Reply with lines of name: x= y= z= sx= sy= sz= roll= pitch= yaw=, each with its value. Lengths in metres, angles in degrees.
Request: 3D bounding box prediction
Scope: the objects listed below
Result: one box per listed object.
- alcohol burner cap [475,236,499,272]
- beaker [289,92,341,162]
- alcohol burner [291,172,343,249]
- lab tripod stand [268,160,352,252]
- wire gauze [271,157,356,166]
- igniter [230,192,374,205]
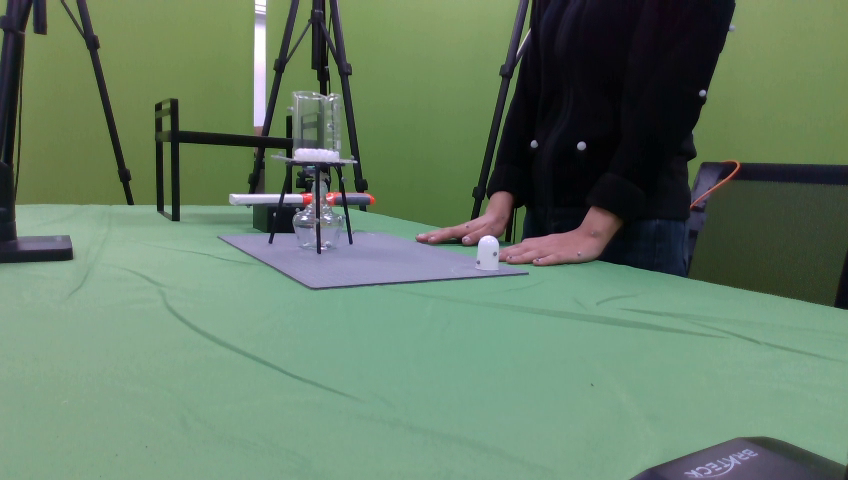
alcohol burner cap: x=0.084 y=0.018 z=0.799 sx=0.034 sy=0.048 sz=0.034 roll=2 pitch=7 yaw=0
beaker: x=-0.160 y=-0.167 z=0.902 sx=0.074 sy=0.100 sz=0.083 roll=-3 pitch=9 yaw=-30
alcohol burner: x=-0.162 y=-0.045 z=0.922 sx=0.078 sy=0.119 sz=0.078 roll=5 pitch=7 yaw=0
lab tripod stand: x=-0.171 y=-0.055 z=0.921 sx=0.148 sy=0.131 sz=0.148 roll=1 pitch=8 yaw=0
wire gauze: x=-0.167 y=-0.120 z=0.917 sx=0.125 sy=0.011 sz=0.121 roll=-2 pitch=6 yaw=-8
igniter: x=-0.228 y=-0.079 z=1.164 sx=0.278 sy=0.025 sz=0.057 roll=-2 pitch=14 yaw=-30
